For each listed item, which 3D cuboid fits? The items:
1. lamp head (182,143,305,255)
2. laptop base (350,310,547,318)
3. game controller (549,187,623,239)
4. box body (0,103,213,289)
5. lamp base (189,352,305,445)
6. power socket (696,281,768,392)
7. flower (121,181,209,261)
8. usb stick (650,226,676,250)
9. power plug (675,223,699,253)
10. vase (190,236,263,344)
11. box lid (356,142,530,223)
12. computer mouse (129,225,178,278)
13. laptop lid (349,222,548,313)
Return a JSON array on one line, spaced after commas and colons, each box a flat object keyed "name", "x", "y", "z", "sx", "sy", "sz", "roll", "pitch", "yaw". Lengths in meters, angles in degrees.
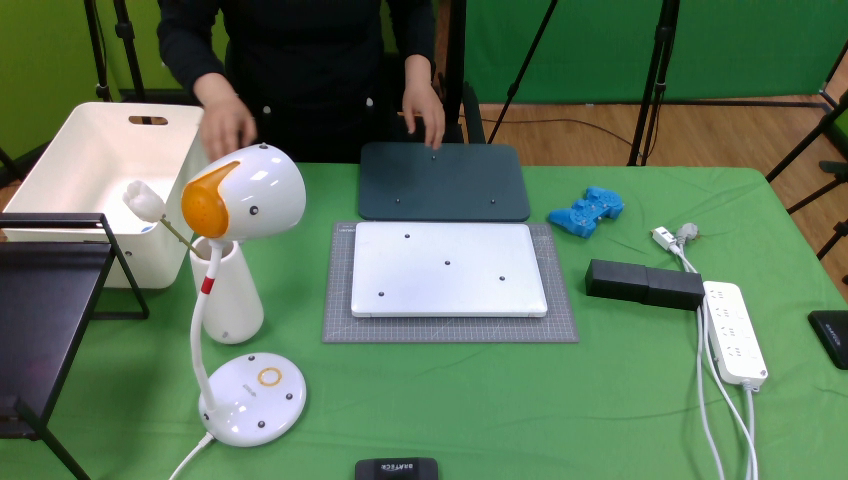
[{"name": "lamp head", "x": -0.216, "y": -0.044, "z": 0.697, "sx": 0.112, "sy": 0.113, "sz": 0.123, "roll": 23, "pitch": 31, "yaw": 17}, {"name": "laptop base", "x": 0.041, "y": 0.056, "z": 1.148, "sx": 0.355, "sy": 0.023, "sz": 0.234, "roll": 0, "pitch": 42, "yaw": -4}, {"name": "game controller", "x": 0.345, "y": -0.065, "z": 1.272, "sx": 0.155, "sy": 0.052, "sz": 0.096, "roll": -31, "pitch": 58, "yaw": -29}, {"name": "box body", "x": -0.563, "y": -0.087, "z": 1.140, "sx": 0.254, "sy": 0.161, "sz": 0.361, "roll": 2, "pitch": 46, "yaw": -3}, {"name": "lamp base", "x": -0.268, "y": 0.196, "z": 0.876, "sx": 0.160, "sy": 0.181, "sz": 0.179, "roll": 25, "pitch": 52, "yaw": 20}, {"name": "power socket", "x": 0.543, "y": 0.161, "z": 1.077, "sx": 0.072, "sy": 0.033, "sz": 0.225, "roll": 5, "pitch": 46, "yaw": 2}, {"name": "flower", "x": -0.329, "y": 0.029, "z": 0.905, "sx": 0.038, "sy": 0.364, "sz": 0.044, "roll": -22, "pitch": 58, "yaw": -1}, {"name": "usb stick", "x": 0.485, "y": -0.008, "z": 1.238, "sx": 0.021, "sy": 0.027, "sz": 0.059, "roll": -22, "pitch": 44, "yaw": -13}, {"name": "power plug", "x": 0.537, "y": 0.000, "z": 1.244, "sx": 0.053, "sy": 0.035, "sz": 0.072, "roll": 19, "pitch": 82, "yaw": -17}, {"name": "vase", "x": -0.317, "y": 0.081, "z": 0.971, "sx": 0.098, "sy": 0.201, "sz": 0.097, "roll": 3, "pitch": 47, "yaw": -3}, {"name": "box lid", "x": 0.040, "y": -0.132, "z": 1.339, "sx": 0.372, "sy": 0.015, "sz": 0.261, "roll": 0, "pitch": 46, "yaw": -4}, {"name": "computer mouse", "x": -0.500, "y": 0.018, "z": 1.121, "sx": 0.063, "sy": 0.041, "sz": 0.116, "roll": 4, "pitch": 53, "yaw": -5}, {"name": "laptop lid", "x": 0.042, "y": 0.046, "z": 1.142, "sx": 0.357, "sy": 0.013, "sz": 0.240, "roll": 2, "pitch": 44, "yaw": -3}]
